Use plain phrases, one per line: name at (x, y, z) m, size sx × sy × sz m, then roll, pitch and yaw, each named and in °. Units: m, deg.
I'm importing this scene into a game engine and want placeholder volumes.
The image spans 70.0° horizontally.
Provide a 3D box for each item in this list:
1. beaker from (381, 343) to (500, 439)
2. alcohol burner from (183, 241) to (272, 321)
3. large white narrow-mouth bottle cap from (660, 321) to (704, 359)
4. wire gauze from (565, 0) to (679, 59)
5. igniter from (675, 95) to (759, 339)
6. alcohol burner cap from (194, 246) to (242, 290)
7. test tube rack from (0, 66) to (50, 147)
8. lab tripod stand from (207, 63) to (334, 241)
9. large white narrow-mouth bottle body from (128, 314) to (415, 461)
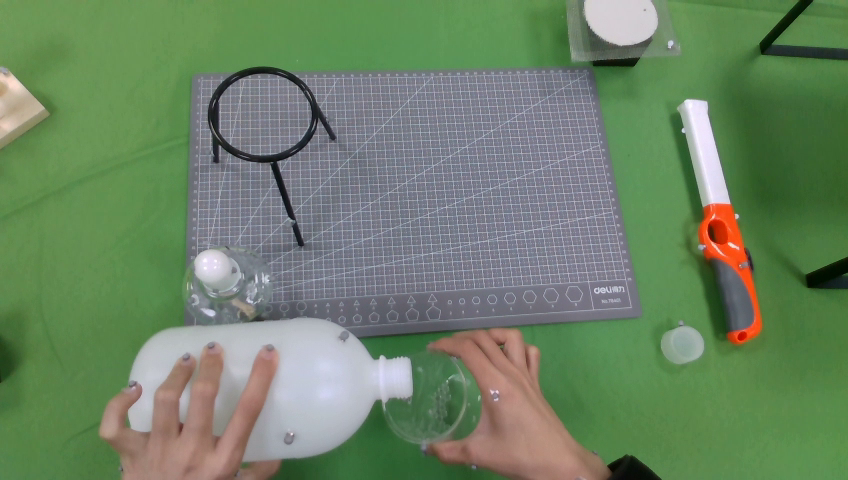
beaker at (0.017, 0.133, 0.521) m, size 0.083 × 0.101 × 0.073 m, roll 7°, pitch 75°, yaw 28°
alcohol burner at (-0.175, 0.032, 0.533) m, size 0.078 × 0.119 × 0.077 m, roll 3°, pitch 70°, yaw -7°
large white narrow-mouth bottle cap at (0.259, 0.101, 0.609) m, size 0.038 × 0.024 × 0.037 m, roll 2°, pitch 71°, yaw -4°
wire gauze at (0.216, -0.258, 0.677) m, size 0.122 × 0.011 × 0.124 m, roll -1°, pitch 73°, yaw -6°
igniter at (0.315, -0.031, 0.654) m, size 0.057 × 0.025 × 0.274 m, roll 1°, pitch 72°, yaw -17°
alcohol burner cap at (-0.171, 0.022, 0.499) m, size 0.034 × 0.048 × 0.033 m, roll 1°, pitch 77°, yaw -5°
test tube rack at (-0.490, -0.088, 0.558) m, size 0.066 × 0.085 × 0.242 m, roll 44°, pitch 73°, yaw 9°
lab tripod stand at (-0.138, -0.085, 0.565) m, size 0.149 × 0.132 × 0.147 m, roll 2°, pitch 72°, yaw -7°
large white narrow-mouth bottle body at (-0.105, 0.107, 0.454) m, size 0.195 × 0.102 × 0.101 m, roll -4°, pitch 72°, yaw 1°
